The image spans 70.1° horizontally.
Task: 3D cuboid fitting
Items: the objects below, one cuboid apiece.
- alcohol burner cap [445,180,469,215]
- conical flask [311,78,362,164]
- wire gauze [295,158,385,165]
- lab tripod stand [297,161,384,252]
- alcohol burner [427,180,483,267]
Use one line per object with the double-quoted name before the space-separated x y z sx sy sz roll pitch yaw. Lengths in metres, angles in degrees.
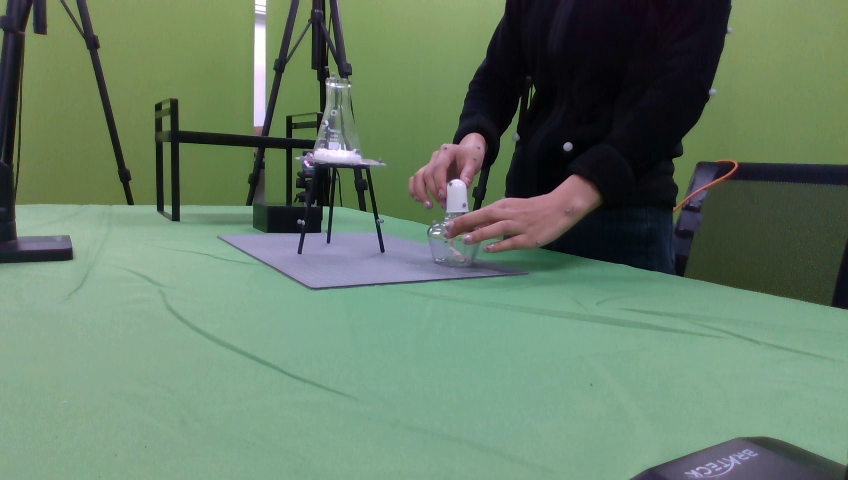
"alcohol burner cap" 0.045 -0.058 0.824 0.034 0.048 0.034 -2 5 1
"conical flask" -0.128 -0.174 0.890 0.075 0.122 0.075 3 8 0
"wire gauze" -0.128 -0.117 0.901 0.125 0.011 0.121 -2 8 -14
"lab tripod stand" -0.130 -0.051 0.903 0.148 0.131 0.148 3 9 0
"alcohol burner" 0.044 -0.023 0.829 0.078 0.119 0.078 5 6 0
